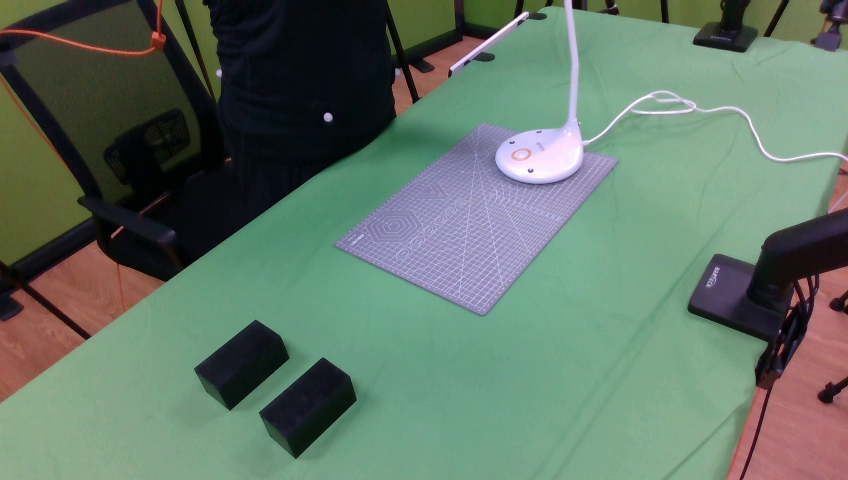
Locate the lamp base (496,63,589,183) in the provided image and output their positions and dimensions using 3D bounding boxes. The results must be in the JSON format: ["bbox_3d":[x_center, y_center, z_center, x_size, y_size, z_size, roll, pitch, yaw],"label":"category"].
[{"bbox_3d":[0.216,-0.217,1.067,0.180,0.181,0.159,-19,42,-18],"label":"lamp base"}]
